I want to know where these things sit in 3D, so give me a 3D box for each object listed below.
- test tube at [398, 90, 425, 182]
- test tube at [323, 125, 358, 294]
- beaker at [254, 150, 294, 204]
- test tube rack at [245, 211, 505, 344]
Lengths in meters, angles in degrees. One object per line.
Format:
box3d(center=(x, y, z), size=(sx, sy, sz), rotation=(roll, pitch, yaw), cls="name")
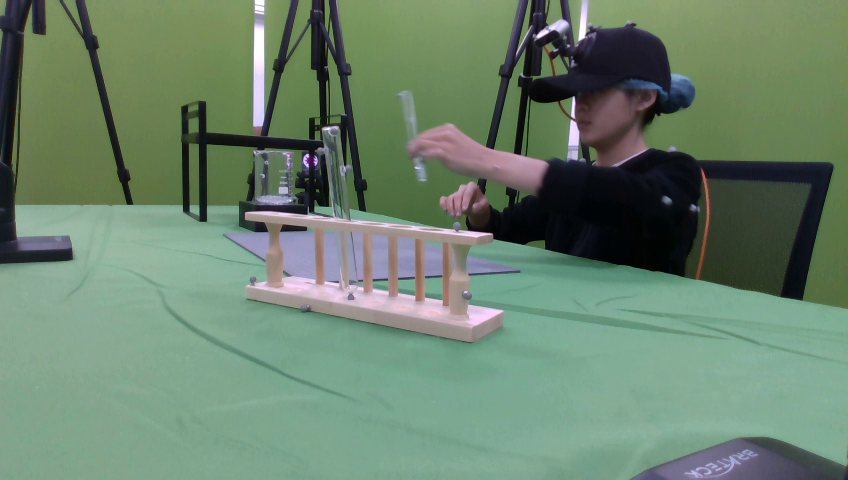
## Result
box3d(center=(-0.020, -0.165, 0.958), size=(0.017, 0.150, 0.017), rotation=(-12, -5, -1), cls="test tube")
box3d(center=(-0.073, -0.026, 0.533), size=(0.017, 0.150, 0.017), rotation=(-5, 9, 1), cls="test tube")
box3d(center=(-0.289, -0.120, 1.151), size=(0.073, 0.100, 0.084), rotation=(8, 9, 33), cls="beaker")
box3d(center=(-0.049, 0.024, 0.547), size=(0.241, 0.085, 0.067), rotation=(7, 8, 29), cls="test tube rack")
